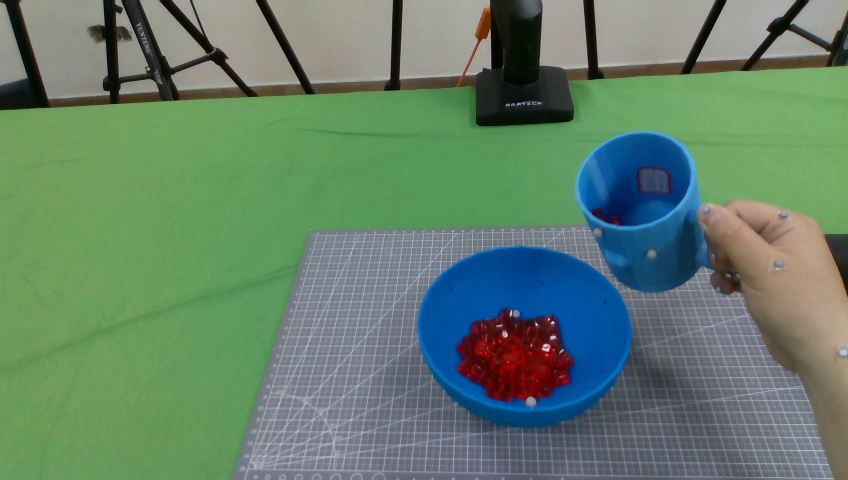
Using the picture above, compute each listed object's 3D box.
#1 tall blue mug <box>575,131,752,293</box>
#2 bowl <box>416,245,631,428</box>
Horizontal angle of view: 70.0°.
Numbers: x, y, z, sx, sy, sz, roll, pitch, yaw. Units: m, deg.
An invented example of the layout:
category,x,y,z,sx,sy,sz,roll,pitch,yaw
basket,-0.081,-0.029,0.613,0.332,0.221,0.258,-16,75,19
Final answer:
category,x,y,z,sx,sy,sz,roll,pitch,yaw
tall blue mug,0.173,-0.017,0.435,0.107,0.109,0.077,-3,61,26
bowl,0.072,0.083,0.454,0.151,0.077,0.150,-3,43,3
